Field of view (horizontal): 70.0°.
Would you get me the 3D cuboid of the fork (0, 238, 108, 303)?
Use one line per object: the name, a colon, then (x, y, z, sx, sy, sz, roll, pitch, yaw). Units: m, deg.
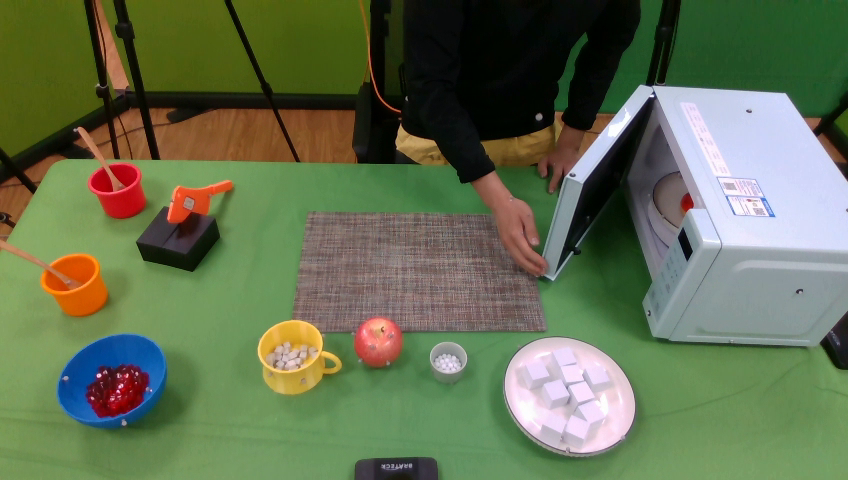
fork: (-0.633, 0.048, 1.017, 0.208, 0.018, 0.028, 40, 43, -27)

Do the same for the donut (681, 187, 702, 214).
donut: (0.553, -0.066, 1.184, 0.099, 0.048, 0.098, 2, 47, -2)

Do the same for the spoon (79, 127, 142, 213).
spoon: (-0.625, -0.139, 1.203, 0.041, 0.021, 0.194, -33, 101, -26)

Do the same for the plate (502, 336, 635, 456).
plate: (0.225, 0.248, 0.963, 0.208, 0.039, 0.206, 2, 46, -2)

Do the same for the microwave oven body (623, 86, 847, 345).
microwave oven body: (0.567, -0.053, 1.118, 0.326, 0.261, 0.439, 2, 45, -1)

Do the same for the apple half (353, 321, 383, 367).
apple half: (-0.097, 0.177, 0.984, 0.033, 0.081, 0.081, -16, 49, -25)

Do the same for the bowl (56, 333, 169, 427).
bowl: (-0.456, 0.223, 0.912, 0.151, 0.077, 0.150, 3, 45, -2)

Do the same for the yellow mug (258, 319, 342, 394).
yellow mug: (-0.195, 0.188, 0.972, 0.131, 0.064, 0.099, 9, 47, 4)

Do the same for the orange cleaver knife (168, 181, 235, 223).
orange cleaver knife: (-0.436, -0.078, 1.196, 0.012, 0.077, 0.211, 16, 15, 10)

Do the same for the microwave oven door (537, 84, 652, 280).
microwave oven door: (0.332, -0.117, 1.158, 0.039, 0.245, 0.355, 28, 50, 21)

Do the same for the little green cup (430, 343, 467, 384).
little green cup: (0.039, 0.203, 0.993, 0.061, 0.039, 0.061, 2, 46, -2)

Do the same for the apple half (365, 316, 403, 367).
apple half: (-0.063, 0.165, 1.000, 0.053, 0.075, 0.080, -16, 45, -24)

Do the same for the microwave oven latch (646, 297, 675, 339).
microwave oven latch: (0.412, 0.134, 1.061, 0.030, 0.029, 0.078, 4, 45, 1)
